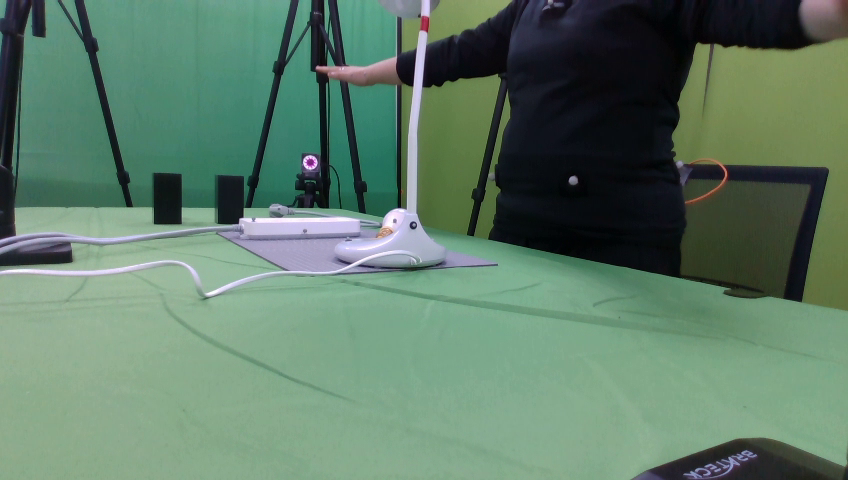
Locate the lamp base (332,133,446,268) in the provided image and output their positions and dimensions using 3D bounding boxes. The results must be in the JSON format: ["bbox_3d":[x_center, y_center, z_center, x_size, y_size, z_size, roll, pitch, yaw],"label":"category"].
[{"bbox_3d":[-0.038,-0.058,0.833,0.161,0.180,0.178,-2,11,-32],"label":"lamp base"}]

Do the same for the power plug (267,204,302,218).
[{"bbox_3d":[-0.327,-0.059,1.403,0.073,0.035,0.052,23,-15,-24],"label":"power plug"}]

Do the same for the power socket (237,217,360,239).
[{"bbox_3d":[-0.221,-0.023,1.080,0.228,0.032,0.072,-2,8,-32],"label":"power socket"}]

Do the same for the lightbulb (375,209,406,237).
[{"bbox_3d":[-0.053,-0.016,1.022,0.059,0.059,0.108,6,23,21],"label":"lightbulb"}]

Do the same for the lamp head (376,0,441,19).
[{"bbox_3d":[-0.012,-0.373,0.822,0.113,0.112,0.122,1,0,-14],"label":"lamp head"}]
